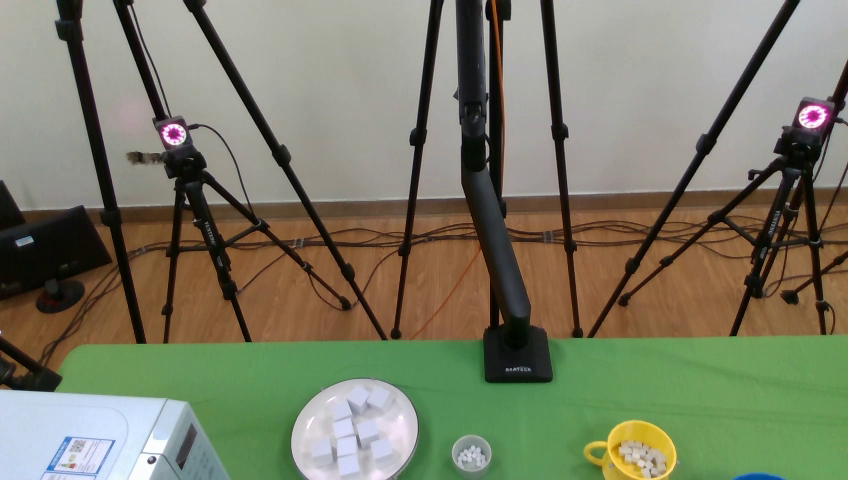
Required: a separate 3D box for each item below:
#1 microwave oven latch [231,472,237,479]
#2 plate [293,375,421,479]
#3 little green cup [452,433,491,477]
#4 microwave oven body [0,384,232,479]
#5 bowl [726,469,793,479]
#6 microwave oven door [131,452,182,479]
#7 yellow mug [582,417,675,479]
[{"bbox_3d":[-0.304,0.387,0.902,0.030,0.030,0.078,3,43,7],"label":"microwave oven latch"},{"bbox_3d":[-0.107,0.317,0.993,0.207,0.039,0.205,-2,41,2],"label":"plate"},{"bbox_3d":[0.075,0.339,0.951,0.061,0.039,0.061,-3,41,3],"label":"little green cup"},{"bbox_3d":[-0.476,0.429,0.723,0.326,0.262,0.437,2,43,6],"label":"microwave oven body"},{"bbox_3d":[0.464,0.399,0.820,0.151,0.077,0.150,-2,42,3],"label":"bowl"},{"bbox_3d":[-0.335,0.456,0.673,0.039,0.246,0.352,1,42,6],"label":"microwave oven door"},{"bbox_3d":[0.308,0.328,0.923,0.130,0.064,0.099,6,42,13],"label":"yellow mug"}]
